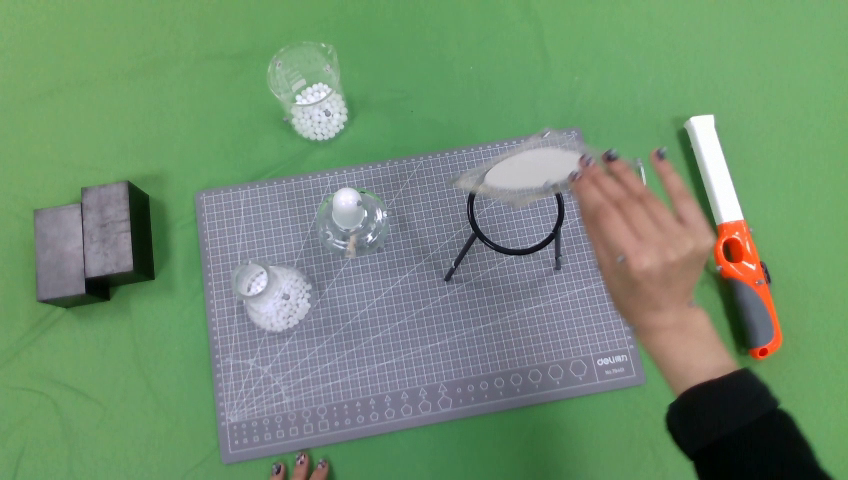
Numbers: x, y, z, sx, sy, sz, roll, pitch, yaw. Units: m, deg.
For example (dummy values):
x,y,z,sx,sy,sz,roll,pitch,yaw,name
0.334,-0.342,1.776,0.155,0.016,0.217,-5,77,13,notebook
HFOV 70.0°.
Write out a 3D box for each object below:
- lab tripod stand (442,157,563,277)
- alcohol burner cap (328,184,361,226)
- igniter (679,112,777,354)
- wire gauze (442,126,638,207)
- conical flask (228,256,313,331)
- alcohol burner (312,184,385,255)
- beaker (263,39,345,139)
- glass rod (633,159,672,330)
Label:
x,y,z,sx,sy,sz,roll,pitch,yaw,name
0.080,-0.015,0.614,0.148,0.132,0.147,0,78,0,lab tripod stand
-0.078,-0.037,0.591,0.034,0.048,0.033,3,68,-6,alcohol burner cap
0.336,-0.012,0.672,0.057,0.025,0.275,-8,77,-13,igniter
0.095,-0.065,0.526,0.125,0.120,0.011,-24,119,-18,wire gauze
-0.158,0.048,0.604,0.075,0.122,0.075,0,76,0,conical flask
-0.079,-0.026,0.626,0.078,0.119,0.077,1,75,-2,alcohol burner
-0.125,-0.163,0.668,0.074,0.100,0.084,38,79,8,beaker
0.254,0.002,0.678,0.008,0.008,0.198,-6,77,-2,glass rod
